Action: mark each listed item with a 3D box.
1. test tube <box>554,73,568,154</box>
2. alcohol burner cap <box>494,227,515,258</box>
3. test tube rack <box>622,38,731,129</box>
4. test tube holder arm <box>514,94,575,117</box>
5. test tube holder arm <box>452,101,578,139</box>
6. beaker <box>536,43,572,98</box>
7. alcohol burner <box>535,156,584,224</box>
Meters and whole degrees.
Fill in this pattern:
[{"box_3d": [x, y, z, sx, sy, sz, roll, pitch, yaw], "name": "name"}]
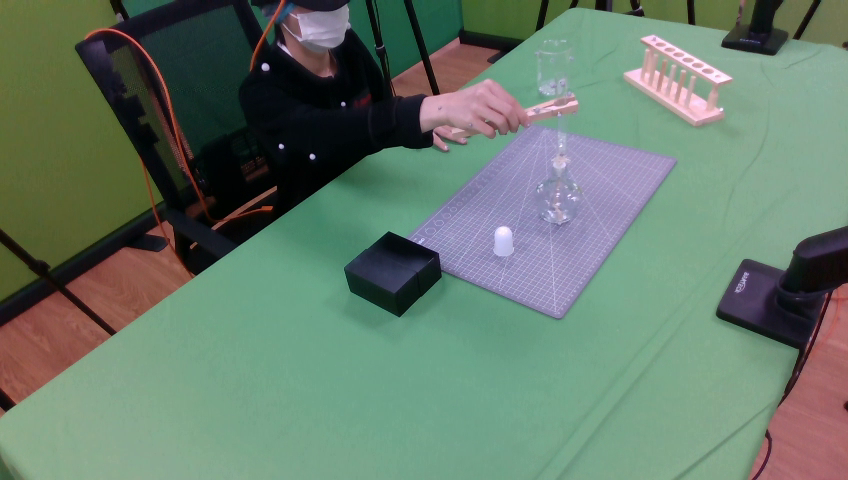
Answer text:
[{"box_3d": [0.196, -0.176, 0.861, 0.017, 0.151, 0.017, -7, 54, 10], "name": "test tube"}, {"box_3d": [0.124, 0.001, 0.936, 0.034, 0.048, 0.033, -4, 40, 4], "name": "alcohol burner cap"}, {"box_3d": [0.506, -0.325, 1.234, 0.067, 0.085, 0.240, -18, 41, -11], "name": "test tube rack"}, {"box_3d": [0.169, -0.184, 0.850, 0.088, 0.015, 0.010, -19, 51, 1], "name": "test tube holder arm"}, {"box_3d": [0.127, -0.168, 0.849, 0.178, 0.015, 0.013, -13, 51, 5], "name": "test tube holder arm"}, {"box_3d": [0.280, -0.368, 1.311, 0.074, 0.101, 0.084, 4, 41, 14], "name": "beaker"}, {"box_3d": [0.217, -0.085, 0.967, 0.078, 0.119, 0.077, -3, 41, 3], "name": "alcohol burner"}]
